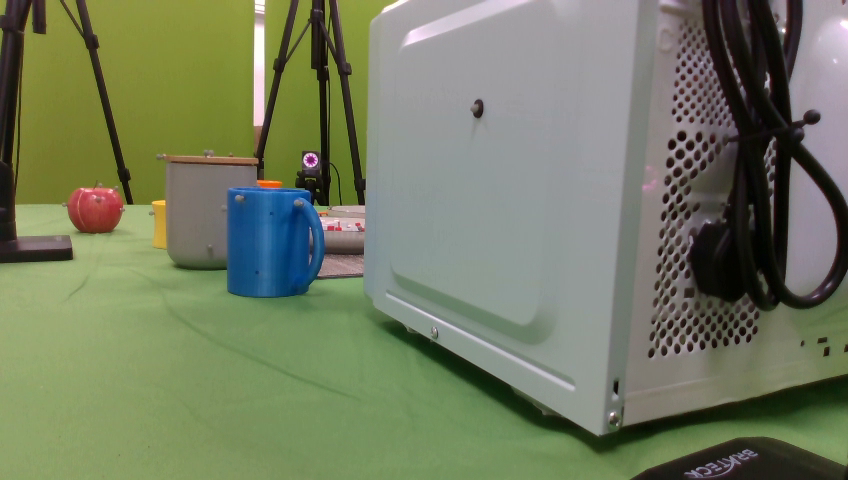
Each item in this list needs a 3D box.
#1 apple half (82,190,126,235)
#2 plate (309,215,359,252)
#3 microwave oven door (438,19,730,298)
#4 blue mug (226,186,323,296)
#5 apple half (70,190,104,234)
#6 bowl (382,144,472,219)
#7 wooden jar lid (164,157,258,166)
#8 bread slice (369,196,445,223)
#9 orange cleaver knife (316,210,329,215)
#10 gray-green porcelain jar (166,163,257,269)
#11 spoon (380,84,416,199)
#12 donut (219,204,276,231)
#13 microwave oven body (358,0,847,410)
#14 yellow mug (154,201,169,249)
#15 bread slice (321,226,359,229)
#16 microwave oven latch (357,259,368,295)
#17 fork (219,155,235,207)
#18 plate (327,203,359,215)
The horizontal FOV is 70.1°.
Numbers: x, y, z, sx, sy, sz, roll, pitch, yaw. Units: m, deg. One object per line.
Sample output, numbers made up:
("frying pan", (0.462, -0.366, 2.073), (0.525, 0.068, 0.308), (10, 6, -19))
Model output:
("apple half", (-0.516, -0.046, 0.994), (0.032, 0.081, 0.081), (0, 6, 26))
("plate", (-0.130, -0.011, 0.945), (0.208, 0.039, 0.207), (2, 8, 0))
("microwave oven door", (0.181, -0.076, 0.618), (0.358, 0.243, 0.039), (-2, 8, -28))
("blue mug", (-0.148, 0.000, 0.618), (0.116, 0.106, 0.083), (7, 9, 33))
("apple half", (-0.552, -0.047, 1.010), (0.053, 0.074, 0.081), (-1, 9, 26))
("bowl", (0.018, -0.084, 0.964), (0.151, 0.077, 0.151), (-25, -2, -1))
("wooden jar lid", (-0.261, -0.093, 0.746), (0.108, 0.020, 0.108), (0, 9, 0))
("bread slice", (-0.040, -0.057, 1.142), (0.107, 0.018, 0.133), (-8, -8, -39))
("orange cleaver knife", (-0.259, -0.064, 1.423), (0.212, 0.012, 0.077), (-4, 3, -30))
("gray-green porcelain jar", (-0.263, -0.031, 0.754), (0.106, 0.126, 0.106), (2, 7, 0))
("spoon", (-0.043, -0.159, 0.989), (0.021, 0.193, 0.041), (-12, 4, -1))
("donut", (-0.316, -0.039, 1.083), (0.099, 0.048, 0.099), (3, 7, 0))
("microwave oven body", (0.210, -0.051, 0.471), (0.444, 0.260, 0.324), (-1, 7, -28))
("yellow mug", (-0.337, -0.022, 0.899), (0.130, 0.064, 0.100), (8, 9, 34))
("bread slice", (-0.125, -0.008, 0.937), (0.131, 0.019, 0.105), (4, 8, 32))
("microwave oven latch", (-0.019, 0.031, 0.529), (0.079, 0.029, 0.030), (-1, 7, -26))
("fork", (-0.459, -0.134, 1.415), (0.028, 0.018, 0.207), (-1, -34, -25))
("plate", (-0.102, -0.053, 1.299), (0.209, 0.038, 0.209), (2, 8, 0))
